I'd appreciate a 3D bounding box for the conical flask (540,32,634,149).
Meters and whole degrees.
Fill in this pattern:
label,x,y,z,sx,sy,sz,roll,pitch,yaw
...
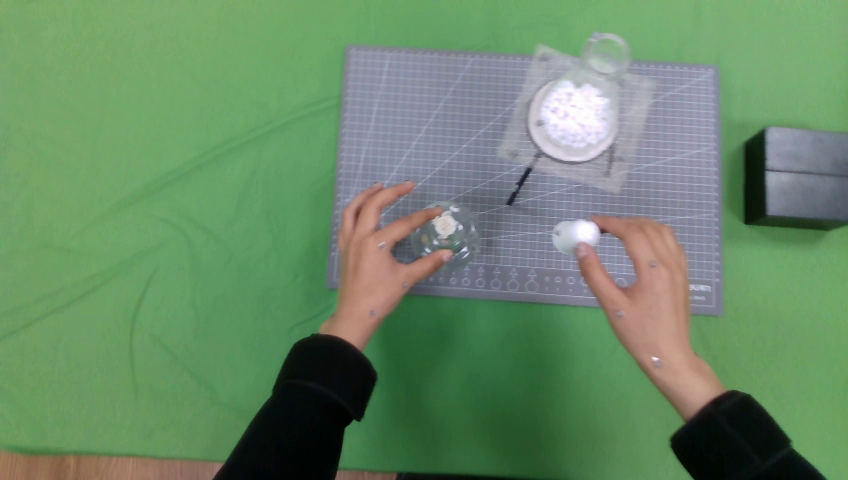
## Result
label,x,y,z,sx,sy,sz,roll,pitch,yaw
conical flask,0.146,-0.132,0.525,0.075,0.122,0.075,0,80,2

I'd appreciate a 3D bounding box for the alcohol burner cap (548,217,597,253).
label,x,y,z,sx,sy,sz,roll,pitch,yaw
alcohol burner cap,0.138,-0.006,0.555,0.034,0.048,0.034,1,85,-15

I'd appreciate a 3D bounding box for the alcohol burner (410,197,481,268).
label,x,y,z,sx,sy,sz,roll,pitch,yaw
alcohol burner,0.023,-0.010,0.642,0.078,0.119,0.077,0,83,2

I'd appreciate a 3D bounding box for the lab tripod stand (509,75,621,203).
label,x,y,z,sx,sy,sz,roll,pitch,yaw
lab tripod stand,0.145,-0.110,0.647,0.148,0.132,0.148,0,80,3

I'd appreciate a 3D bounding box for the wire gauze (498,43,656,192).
label,x,y,z,sx,sy,sz,roll,pitch,yaw
wire gauze,0.149,-0.118,0.581,0.121,0.011,0.124,21,79,3
